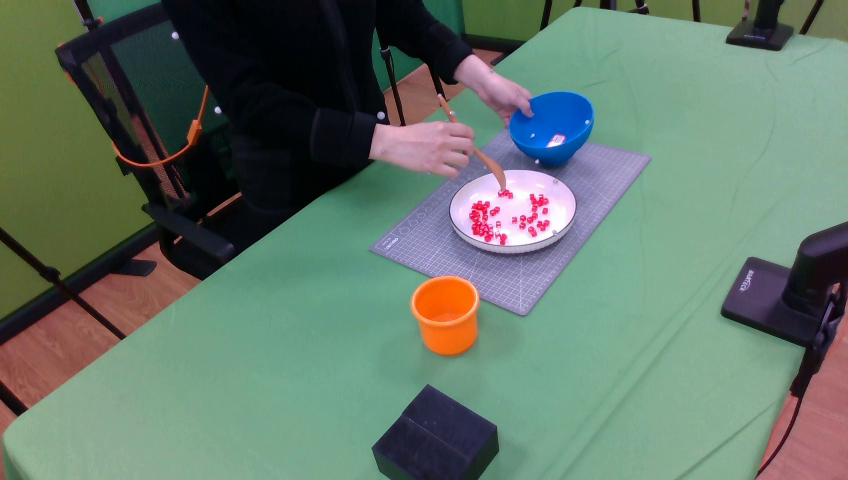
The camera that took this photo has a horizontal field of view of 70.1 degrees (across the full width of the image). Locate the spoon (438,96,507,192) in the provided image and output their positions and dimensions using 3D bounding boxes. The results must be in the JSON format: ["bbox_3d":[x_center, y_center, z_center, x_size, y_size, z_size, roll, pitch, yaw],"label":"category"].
[{"bbox_3d":[0.076,-0.143,0.920,0.021,0.195,0.041,-28,36,28],"label":"spoon"}]

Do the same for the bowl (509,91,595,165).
[{"bbox_3d":[0.235,-0.190,1.092,0.151,0.077,0.150,-11,48,13],"label":"bowl"}]

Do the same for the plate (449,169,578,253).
[{"bbox_3d":[0.146,-0.044,0.993,0.209,0.038,0.208,-5,40,5],"label":"plate"}]
